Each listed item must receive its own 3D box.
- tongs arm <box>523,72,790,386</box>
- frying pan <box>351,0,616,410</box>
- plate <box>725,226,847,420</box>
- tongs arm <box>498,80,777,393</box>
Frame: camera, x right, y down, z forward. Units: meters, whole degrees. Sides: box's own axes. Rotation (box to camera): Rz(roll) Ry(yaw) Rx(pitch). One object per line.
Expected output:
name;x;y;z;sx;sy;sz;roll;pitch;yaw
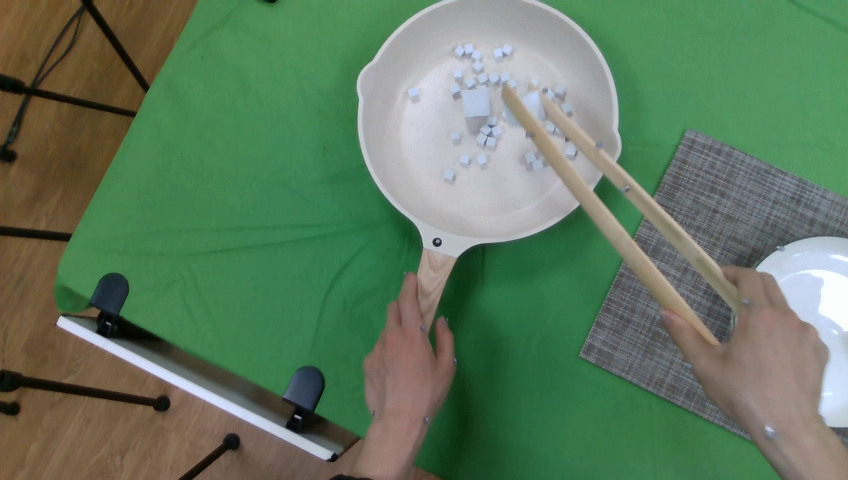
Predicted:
tongs arm;0.194;-0.030;0.573;0.051;0.027;0.381;-26;62;-20
frying pan;0.031;-0.049;0.682;0.306;0.103;0.486;18;76;7
plate;0.435;0.089;0.667;0.207;0.039;0.207;-1;83;4
tongs arm;0.174;-0.022;0.566;0.028;0.028;0.383;-20;60;-21
